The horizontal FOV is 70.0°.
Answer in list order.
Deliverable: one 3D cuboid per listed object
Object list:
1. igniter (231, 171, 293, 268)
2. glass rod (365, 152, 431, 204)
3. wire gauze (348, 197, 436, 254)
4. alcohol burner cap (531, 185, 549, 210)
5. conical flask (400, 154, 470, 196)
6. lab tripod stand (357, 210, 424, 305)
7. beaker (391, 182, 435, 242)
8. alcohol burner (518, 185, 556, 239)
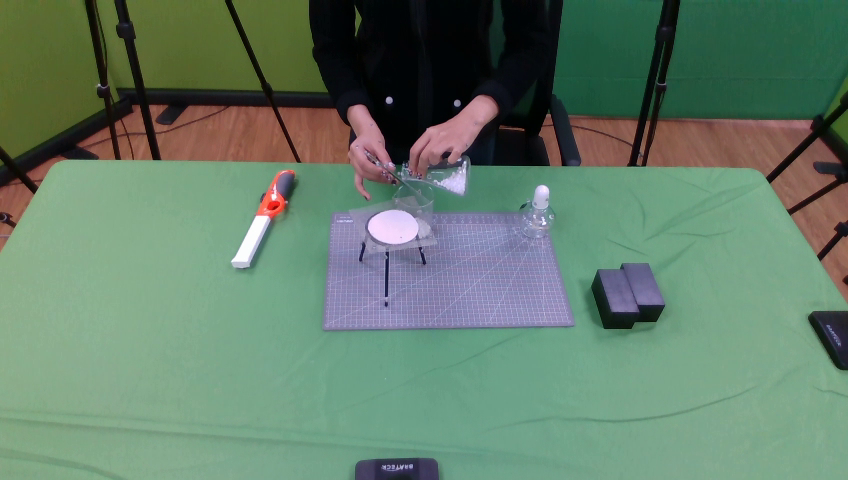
[{"bbox_3d":[-0.321,-0.051,1.220,0.057,0.025,0.275,1,45,11],"label":"igniter"},{"bbox_3d":[-0.044,-0.110,1.116,0.008,0.201,0.008,-18,57,30],"label":"glass rod"},{"bbox_3d":[-0.056,-0.026,1.045,0.125,0.011,0.120,-12,47,-17],"label":"wire gauze"},{"bbox_3d":[0.228,-0.085,1.183,0.034,0.048,0.033,-1,48,1],"label":"alcohol burner cap"},{"bbox_3d":[0.019,-0.122,1.097,0.122,0.076,0.075,6,46,8],"label":"conical flask"},{"bbox_3d":[-0.060,0.020,1.094,0.148,0.132,0.147,3,44,-2],"label":"lab tripod stand"},{"bbox_3d":[-0.023,-0.053,1.192,0.084,0.101,0.073,-2,46,-6],"label":"beaker"},{"bbox_3d":[0.227,-0.061,1.209,0.078,0.120,0.077,1,44,-1],"label":"alcohol burner"}]
